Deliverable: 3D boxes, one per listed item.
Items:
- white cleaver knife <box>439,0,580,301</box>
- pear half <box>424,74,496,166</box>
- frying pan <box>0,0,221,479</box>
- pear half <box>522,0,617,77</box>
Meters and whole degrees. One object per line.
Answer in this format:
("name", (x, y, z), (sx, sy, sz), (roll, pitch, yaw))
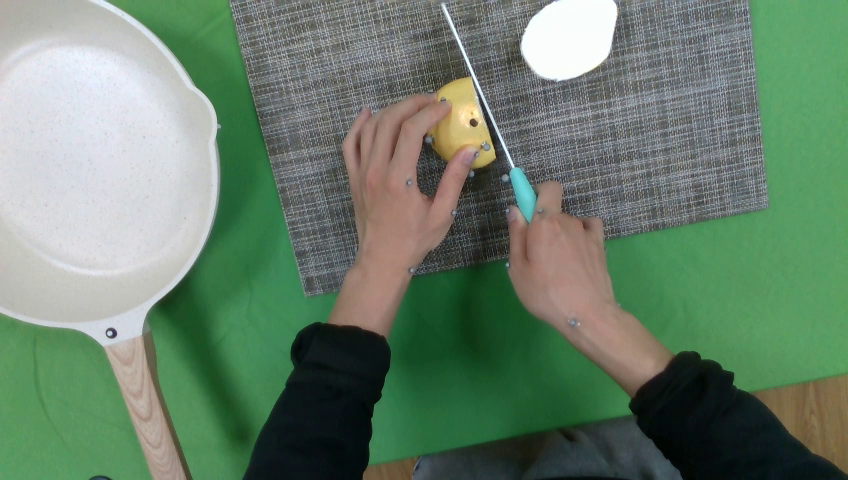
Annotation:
("white cleaver knife", (0.075, -0.077, 0.532), (0.021, 0.065, 0.287), (-23, 98, 10))
("pear half", (0.028, -0.096, 0.508), (0.056, 0.109, 0.076), (-25, 97, 9))
("frying pan", (-0.290, 0.031, 0.551), (0.307, 0.102, 0.488), (-16, 93, 6))
("pear half", (0.127, -0.174, 0.526), (0.088, 0.031, 0.070), (-37, 81, -5))
